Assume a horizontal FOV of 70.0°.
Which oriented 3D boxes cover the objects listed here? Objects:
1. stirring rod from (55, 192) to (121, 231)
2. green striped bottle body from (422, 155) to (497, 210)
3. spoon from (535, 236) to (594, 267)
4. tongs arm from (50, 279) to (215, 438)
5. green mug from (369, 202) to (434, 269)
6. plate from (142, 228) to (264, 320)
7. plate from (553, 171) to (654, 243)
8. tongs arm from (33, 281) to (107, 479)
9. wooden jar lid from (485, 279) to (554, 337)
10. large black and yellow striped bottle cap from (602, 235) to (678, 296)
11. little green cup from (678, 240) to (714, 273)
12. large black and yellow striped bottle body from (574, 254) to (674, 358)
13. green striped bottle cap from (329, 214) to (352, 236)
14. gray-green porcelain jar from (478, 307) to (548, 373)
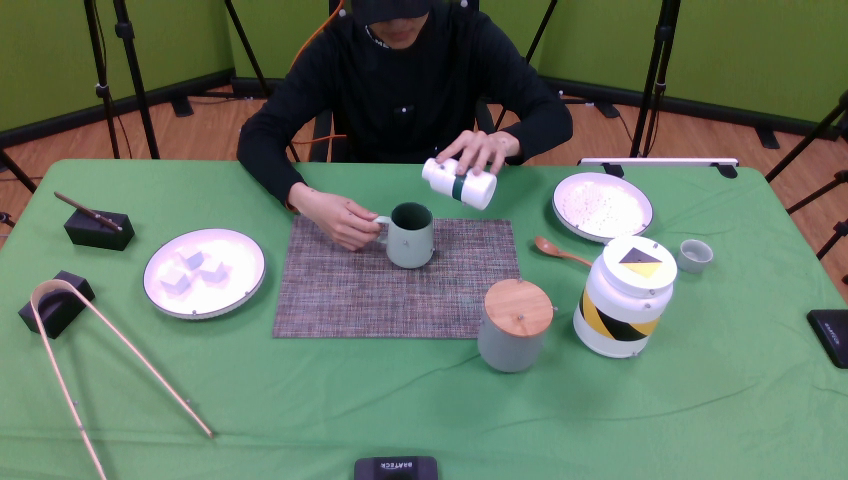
[{"bbox_3d":[-0.632,-0.055,1.138,0.175,0.014,0.006,24,50,19],"label":"stirring rod"},{"bbox_3d":[0.058,-0.101,1.020,0.119,0.063,0.063,24,49,15],"label":"green striped bottle body"},{"bbox_3d":[0.303,0.040,1.178,0.193,0.022,0.041,25,31,20],"label":"spoon"},{"bbox_3d":[-0.459,0.178,0.949,0.386,0.028,0.028,37,60,17],"label":"tongs arm"},{"bbox_3d":[-0.043,-0.010,1.140,0.125,0.105,0.092,8,47,4],"label":"green mug"},{"bbox_3d":[-0.394,0.064,1.095,0.208,0.039,0.206,2,46,-2],"label":"plate"},{"bbox_3d":[0.373,-0.066,1.275,0.209,0.038,0.208,2,46,-2],"label":"plate"},{"bbox_3d":[-0.517,0.214,0.910,0.051,0.026,0.383,-28,63,-27],"label":"tongs arm"},{"bbox_3d":[0.147,0.108,0.940,0.108,0.021,0.107,4,47,-4],"label":"wooden jar lid"},{"bbox_3d":[0.340,0.037,0.955,0.115,0.019,0.114,2,47,-2],"label":"large black and yellow striped bottle cap"},{"bbox_3d":[0.530,0.033,1.190,0.061,0.039,0.061,1,46,-1],"label":"little green cup"},{"bbox_3d":[0.335,0.096,1.014,0.131,0.185,0.130,2,46,-2],"label":"large black and yellow striped bottle body"},{"bbox_3d":[-0.167,-0.030,1.213,0.044,0.020,0.044,1,50,-1],"label":"green striped bottle cap"},{"bbox_3d":[0.144,0.148,0.989,0.106,0.127,0.105,2,50,-2],"label":"gray-green porcelain jar"}]
